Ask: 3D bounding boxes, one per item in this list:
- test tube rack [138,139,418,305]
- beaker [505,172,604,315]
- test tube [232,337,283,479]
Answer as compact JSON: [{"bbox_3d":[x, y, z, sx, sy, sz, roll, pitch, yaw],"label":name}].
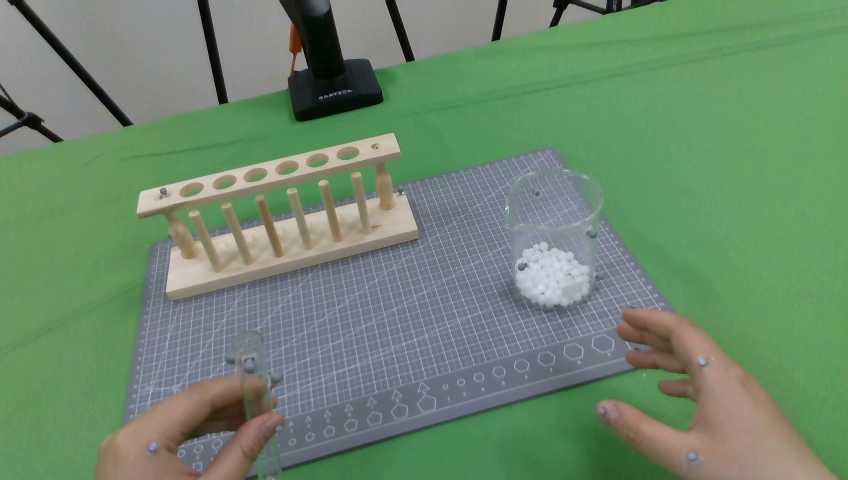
[{"bbox_3d":[-0.134,-0.018,0.581,0.242,0.086,0.066,-14,42,-5],"label":"test tube rack"},{"bbox_3d":[0.104,0.008,0.498,0.084,0.101,0.073,-28,44,-17],"label":"beaker"},{"bbox_3d":[-0.094,0.107,0.352,0.017,0.151,0.017,4,43,-3],"label":"test tube"}]
